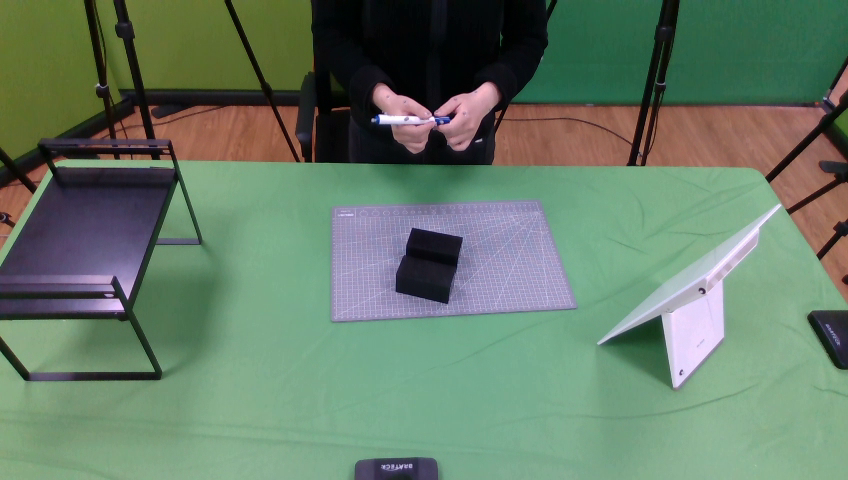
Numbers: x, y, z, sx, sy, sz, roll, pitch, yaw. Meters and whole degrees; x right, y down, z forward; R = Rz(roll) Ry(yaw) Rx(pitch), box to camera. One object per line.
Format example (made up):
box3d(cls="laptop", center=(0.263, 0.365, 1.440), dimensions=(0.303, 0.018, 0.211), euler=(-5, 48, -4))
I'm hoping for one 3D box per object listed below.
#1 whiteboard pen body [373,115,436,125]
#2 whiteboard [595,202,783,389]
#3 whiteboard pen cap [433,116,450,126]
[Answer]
box3d(cls="whiteboard pen body", center=(-0.024, -0.217, 1.092), dimensions=(0.141, 0.017, 0.017), euler=(-5, 46, -25))
box3d(cls="whiteboard", center=(0.459, 0.112, 0.968), dimensions=(0.217, 0.306, 0.143), euler=(-31, 74, -29))
box3d(cls="whiteboard pen cap", center=(0.030, -0.220, 1.118), dimensions=(0.033, 0.018, 0.018), euler=(1, 44, -25))
